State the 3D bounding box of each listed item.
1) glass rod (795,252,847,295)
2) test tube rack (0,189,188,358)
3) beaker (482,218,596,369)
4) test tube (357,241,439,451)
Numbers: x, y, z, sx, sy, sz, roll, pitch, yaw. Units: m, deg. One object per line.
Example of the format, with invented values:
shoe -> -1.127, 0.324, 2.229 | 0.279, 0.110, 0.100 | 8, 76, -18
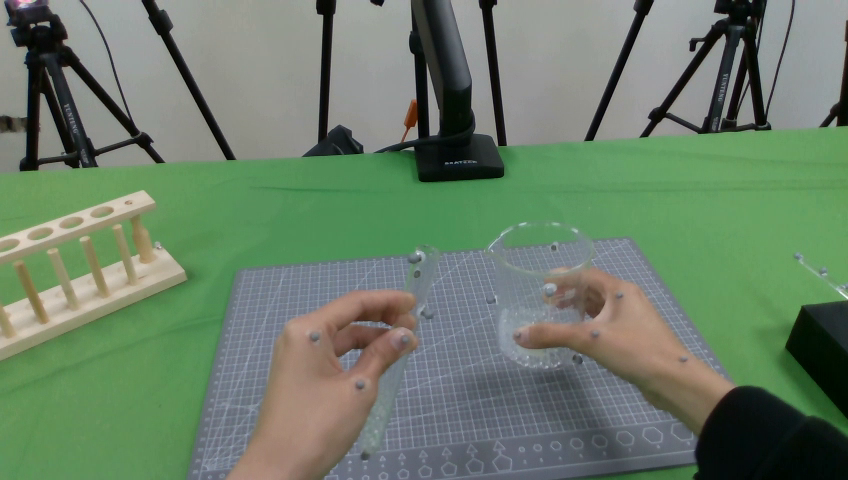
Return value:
glass rod -> 0.386, 0.065, 0.504 | 0.008, 0.008, 0.197 | -10, 35, -12
test tube rack -> -0.368, 0.039, 0.586 | 0.242, 0.086, 0.066 | -27, 42, -32
beaker -> 0.088, 0.044, 0.476 | 0.084, 0.101, 0.073 | 1, 32, 9
test tube -> -0.018, 0.070, 0.375 | 0.017, 0.151, 0.017 | 15, 20, -5
